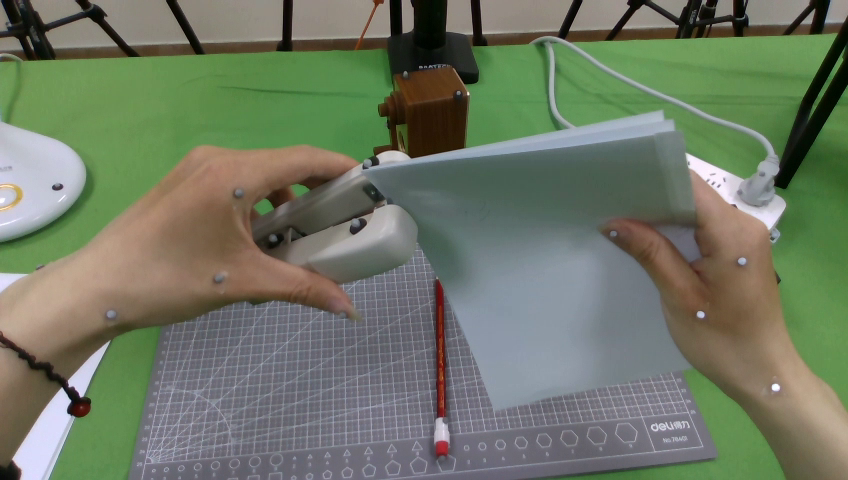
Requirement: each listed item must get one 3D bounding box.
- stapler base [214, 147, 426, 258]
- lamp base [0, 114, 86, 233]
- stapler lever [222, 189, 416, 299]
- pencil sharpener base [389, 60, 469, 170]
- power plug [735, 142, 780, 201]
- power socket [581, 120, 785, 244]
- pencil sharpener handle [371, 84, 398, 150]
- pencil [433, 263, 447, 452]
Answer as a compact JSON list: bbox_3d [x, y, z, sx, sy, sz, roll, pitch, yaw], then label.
[{"bbox_3d":[-0.060,-0.009,0.349,0.130,0.042,0.024,-23,43,18],"label":"stapler base"},{"bbox_3d":[-0.452,-0.123,0.592,0.161,0.182,0.177,-29,52,-26],"label":"lamp base"},{"bbox_3d":[-0.059,0.009,0.333,0.118,0.027,0.039,-24,42,17],"label":"stapler lever"},{"bbox_3d":[0.002,-0.136,0.676,0.077,0.108,0.060,-12,49,-13],"label":"pencil sharpener base"},{"bbox_3d":[0.363,-0.065,0.646,0.072,0.053,0.035,-30,55,-26],"label":"power plug"},{"bbox_3d":[0.288,-0.070,0.679,0.225,0.033,0.072,34,54,26],"label":"power socket"},{"bbox_3d":[-0.045,-0.131,0.651,0.031,0.068,0.035,-12,27,-13],"label":"pencil sharpener handle"},{"bbox_3d":[0.013,0.092,0.530,0.012,0.012,0.192,1,46,-1],"label":"pencil"}]
